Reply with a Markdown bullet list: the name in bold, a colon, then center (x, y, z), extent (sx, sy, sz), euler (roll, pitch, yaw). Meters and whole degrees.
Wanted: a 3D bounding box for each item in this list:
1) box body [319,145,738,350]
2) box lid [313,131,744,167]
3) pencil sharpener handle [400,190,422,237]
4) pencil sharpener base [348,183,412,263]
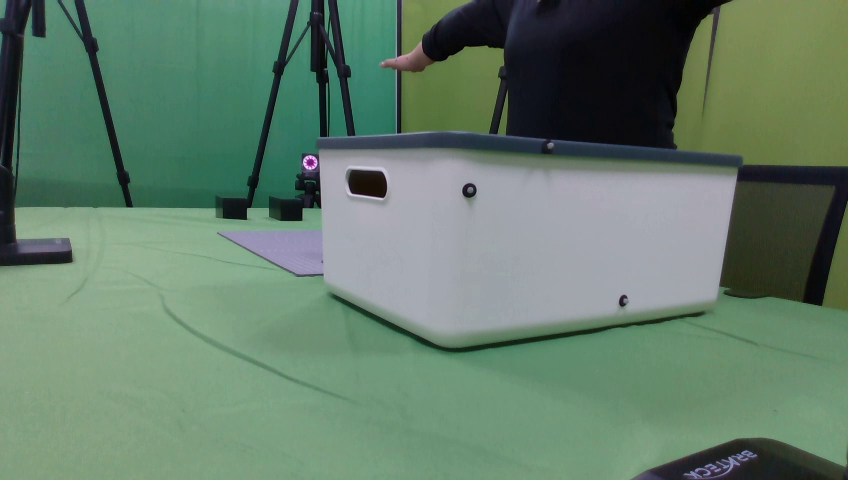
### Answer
- **box body**: center (0.099, -0.013, 0.611), extent (0.366, 0.160, 0.253), euler (-2, 8, -33)
- **box lid**: center (0.101, -0.085, 0.602), extent (0.373, 0.015, 0.262), euler (-2, 8, -32)
- **pencil sharpener handle**: center (-0.016, -0.038, 0.872), extent (0.031, 0.067, 0.036), euler (-1, 16, -30)
- **pencil sharpener base**: center (-0.059, -0.024, 0.846), extent (0.077, 0.107, 0.061), euler (-1, 7, -30)
